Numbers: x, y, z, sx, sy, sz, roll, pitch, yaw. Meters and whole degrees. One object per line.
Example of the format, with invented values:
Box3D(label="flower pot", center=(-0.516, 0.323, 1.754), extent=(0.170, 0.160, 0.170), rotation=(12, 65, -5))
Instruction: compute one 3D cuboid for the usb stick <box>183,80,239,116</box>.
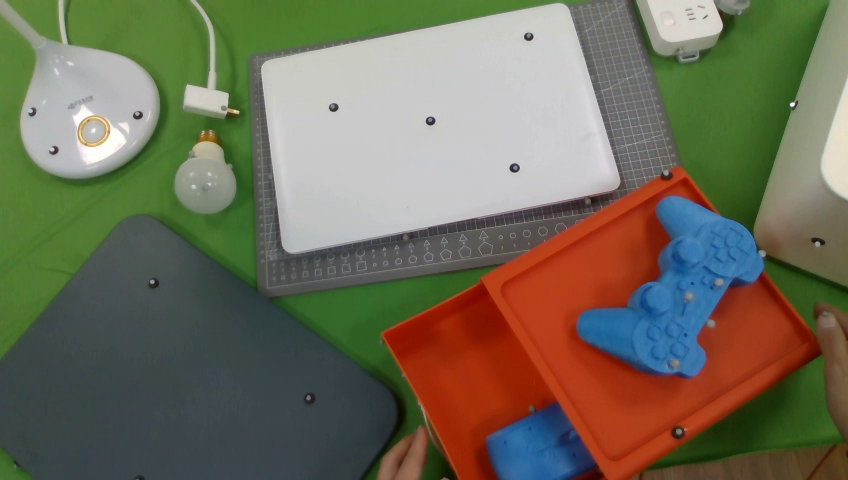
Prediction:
Box3D(label="usb stick", center=(-0.236, -0.156, 0.674), extent=(0.059, 0.021, 0.027), rotation=(12, 74, -27))

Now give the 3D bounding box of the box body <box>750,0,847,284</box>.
Box3D(label="box body", center=(0.486, -0.121, 0.545), extent=(0.253, 0.161, 0.363), rotation=(24, 75, 12))

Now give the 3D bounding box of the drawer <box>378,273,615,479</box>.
Box3D(label="drawer", center=(0.096, 0.119, 0.536), extent=(0.212, 0.074, 0.193), rotation=(-28, 71, -5))

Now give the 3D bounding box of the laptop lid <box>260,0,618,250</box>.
Box3D(label="laptop lid", center=(0.007, -0.130, 0.646), extent=(0.357, 0.013, 0.240), rotation=(-9, 73, 1))

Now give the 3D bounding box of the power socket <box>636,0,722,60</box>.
Box3D(label="power socket", center=(0.273, -0.309, 0.693), extent=(0.072, 0.033, 0.225), rotation=(-9, 70, 0))

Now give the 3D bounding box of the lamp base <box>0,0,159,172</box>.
Box3D(label="lamp base", center=(-0.395, -0.185, 0.622), extent=(0.160, 0.181, 0.178), rotation=(-36, 69, -8))

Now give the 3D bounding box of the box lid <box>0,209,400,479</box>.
Box3D(label="box lid", center=(-0.237, 0.154, 0.585), extent=(0.370, 0.015, 0.263), rotation=(33, 77, 13))

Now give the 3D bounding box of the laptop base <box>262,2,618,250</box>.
Box3D(label="laptop base", center=(0.008, -0.128, 0.658), extent=(0.354, 0.023, 0.234), rotation=(-11, 74, 0))

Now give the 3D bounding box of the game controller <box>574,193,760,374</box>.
Box3D(label="game controller", center=(0.204, 0.036, 0.498), extent=(0.097, 0.052, 0.155), rotation=(36, 79, 11))

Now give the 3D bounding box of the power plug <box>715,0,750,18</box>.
Box3D(label="power plug", center=(0.353, -0.273, 0.672), extent=(0.072, 0.053, 0.035), rotation=(-28, 66, -24))

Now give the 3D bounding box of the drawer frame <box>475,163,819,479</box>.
Box3D(label="drawer frame", center=(0.185, 0.069, 0.543), extent=(0.213, 0.083, 0.200), rotation=(-29, 71, -5))

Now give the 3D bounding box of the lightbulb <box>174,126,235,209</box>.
Box3D(label="lightbulb", center=(-0.231, -0.081, 0.645), extent=(0.059, 0.060, 0.106), rotation=(-11, 55, 1))
